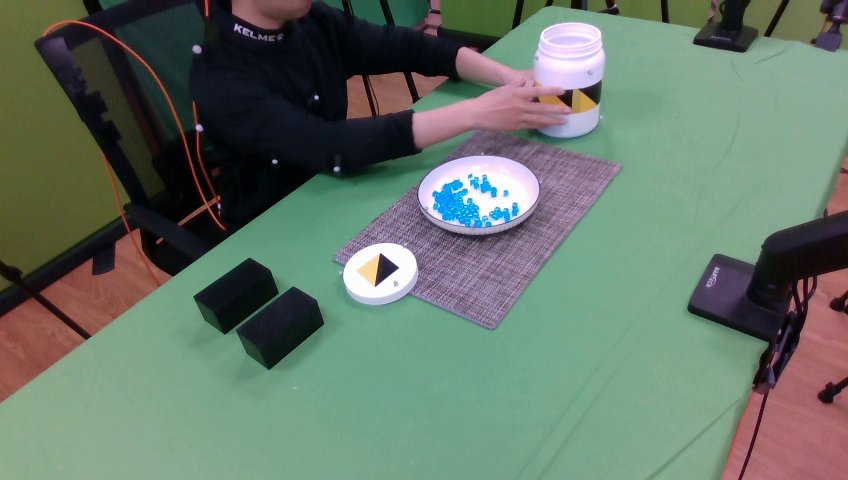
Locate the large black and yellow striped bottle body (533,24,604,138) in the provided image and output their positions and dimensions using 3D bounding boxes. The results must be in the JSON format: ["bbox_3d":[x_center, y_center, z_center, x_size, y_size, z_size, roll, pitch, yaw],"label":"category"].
[{"bbox_3d":[0.275,-0.304,1.160,0.131,0.185,0.130,-4,41,4],"label":"large black and yellow striped bottle body"}]

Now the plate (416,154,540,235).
[{"bbox_3d":[0.091,-0.074,1.025,0.207,0.039,0.206,-4,41,4],"label":"plate"}]

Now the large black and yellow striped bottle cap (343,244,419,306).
[{"bbox_3d":[-0.066,0.051,0.918,0.115,0.019,0.114,-6,43,6],"label":"large black and yellow striped bottle cap"}]
